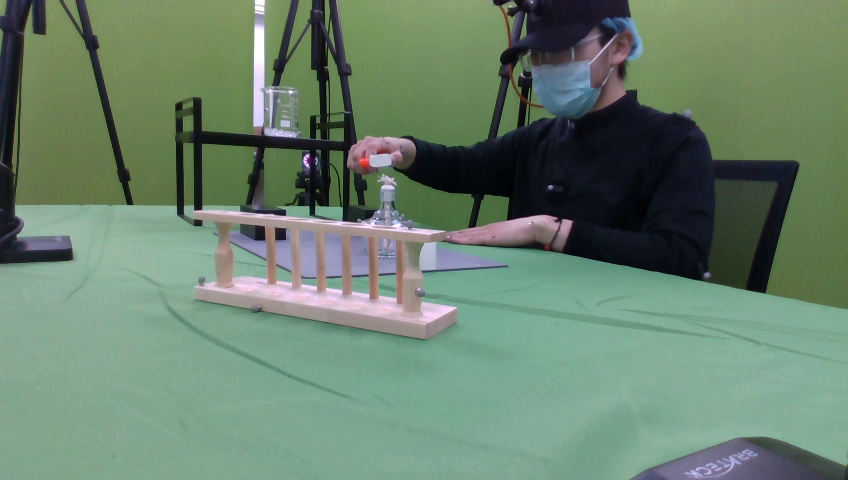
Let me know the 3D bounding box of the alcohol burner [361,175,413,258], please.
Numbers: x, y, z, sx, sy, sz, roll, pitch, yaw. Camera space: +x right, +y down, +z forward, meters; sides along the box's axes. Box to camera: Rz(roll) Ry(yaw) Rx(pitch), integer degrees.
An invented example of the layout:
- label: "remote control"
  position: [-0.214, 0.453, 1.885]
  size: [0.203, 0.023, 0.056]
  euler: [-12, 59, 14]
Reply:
- label: "alcohol burner"
  position: [-0.054, -0.034, 0.870]
  size: [0.078, 0.119, 0.078]
  euler: [1, 8, 0]

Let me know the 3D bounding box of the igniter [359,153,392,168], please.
- label: "igniter"
  position: [-0.081, -0.134, 1.018]
  size: [0.057, 0.025, 0.276]
  euler: [-6, 8, -7]

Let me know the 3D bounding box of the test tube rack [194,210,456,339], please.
- label: "test tube rack"
  position: [-0.093, 0.023, 0.546]
  size: [0.241, 0.085, 0.067]
  euler: [6, 8, 25]

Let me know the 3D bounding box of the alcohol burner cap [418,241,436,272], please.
- label: "alcohol burner cap"
  position: [0.000, 0.015, 0.787]
  size: [0.034, 0.048, 0.034]
  euler: [4, 7, 0]

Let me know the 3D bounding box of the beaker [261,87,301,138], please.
- label: "beaker"
  position: [-0.298, -0.263, 1.255]
  size: [0.084, 0.100, 0.073]
  euler: [-4, 9, -40]
